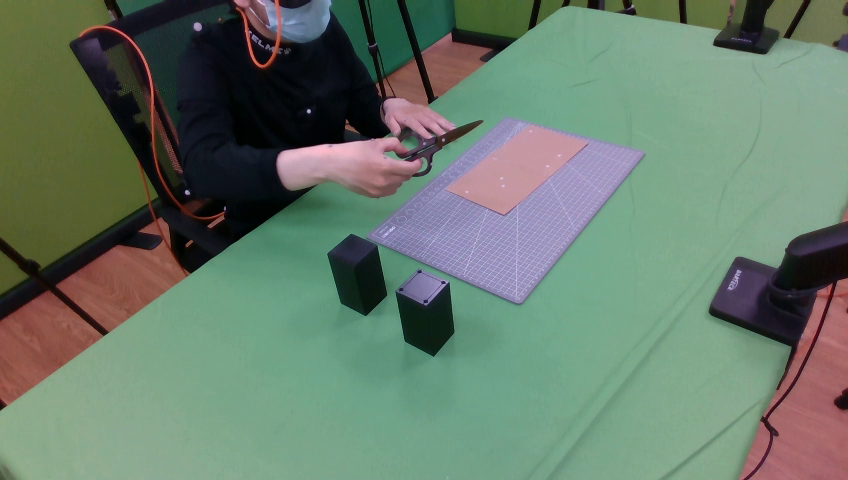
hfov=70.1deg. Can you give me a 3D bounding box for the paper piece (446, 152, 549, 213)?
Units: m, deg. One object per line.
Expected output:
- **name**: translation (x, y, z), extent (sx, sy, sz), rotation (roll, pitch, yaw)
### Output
- **paper piece**: translation (0.130, -0.105, 1.079), extent (0.134, 0.004, 0.136), rotation (28, 52, 33)

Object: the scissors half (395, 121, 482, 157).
- **scissors half**: translation (0.019, -0.162, 0.932), extent (0.174, 0.040, 0.013), rotation (-9, 18, 40)

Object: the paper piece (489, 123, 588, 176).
- **paper piece**: translation (0.218, -0.176, 1.150), extent (0.135, 0.009, 0.138), rotation (30, 52, 31)

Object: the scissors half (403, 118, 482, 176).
- **scissors half**: translation (0.028, -0.144, 0.934), extent (0.013, 0.174, 0.040), rotation (-28, 87, -47)
